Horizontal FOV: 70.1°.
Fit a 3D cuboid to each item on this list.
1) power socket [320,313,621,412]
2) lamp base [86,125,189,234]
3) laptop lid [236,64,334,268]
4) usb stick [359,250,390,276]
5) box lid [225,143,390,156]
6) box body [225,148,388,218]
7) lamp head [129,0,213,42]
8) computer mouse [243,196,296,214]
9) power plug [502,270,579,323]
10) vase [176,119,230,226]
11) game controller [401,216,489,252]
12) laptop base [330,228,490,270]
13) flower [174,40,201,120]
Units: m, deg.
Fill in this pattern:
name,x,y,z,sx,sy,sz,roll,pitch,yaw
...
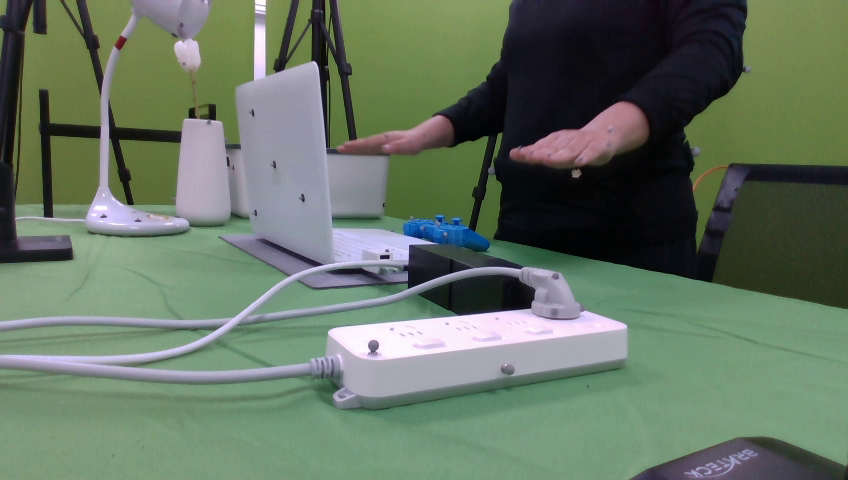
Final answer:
name,x,y,z,sx,sy,sz,roll,pitch,yaw
power socket,0.038,0.075,0.410,0.228,0.032,0.072,-2,8,-29
lamp base,-0.497,-0.105,1.027,0.179,0.180,0.160,1,7,3
laptop lid,-0.202,-0.103,0.828,0.013,0.241,0.355,-9,14,-30
usb stick,-0.062,0.026,0.709,0.021,0.027,0.059,-2,3,-29
box lid,-0.296,-0.217,1.463,0.373,0.015,0.262,-2,8,-29
box body,-0.298,-0.143,1.474,0.366,0.160,0.253,-1,9,-30
lamp head,-0.423,-0.394,0.980,0.123,0.112,0.112,20,7,-3
computer mouse,-0.362,-0.082,1.416,0.117,0.041,0.063,-3,10,5
power plug,0.091,0.051,0.469,0.035,0.052,0.072,0,5,-18
vase,-0.424,-0.128,1.159,0.098,0.200,0.098,2,9,0
game controller,0.029,-0.012,1.027,0.097,0.051,0.154,-5,10,-33
laptop base,-0.096,0.011,0.912,0.237,0.023,0.352,3,6,-32
flower,-0.430,-0.211,1.166,0.044,0.361,0.038,-10,-5,-24
